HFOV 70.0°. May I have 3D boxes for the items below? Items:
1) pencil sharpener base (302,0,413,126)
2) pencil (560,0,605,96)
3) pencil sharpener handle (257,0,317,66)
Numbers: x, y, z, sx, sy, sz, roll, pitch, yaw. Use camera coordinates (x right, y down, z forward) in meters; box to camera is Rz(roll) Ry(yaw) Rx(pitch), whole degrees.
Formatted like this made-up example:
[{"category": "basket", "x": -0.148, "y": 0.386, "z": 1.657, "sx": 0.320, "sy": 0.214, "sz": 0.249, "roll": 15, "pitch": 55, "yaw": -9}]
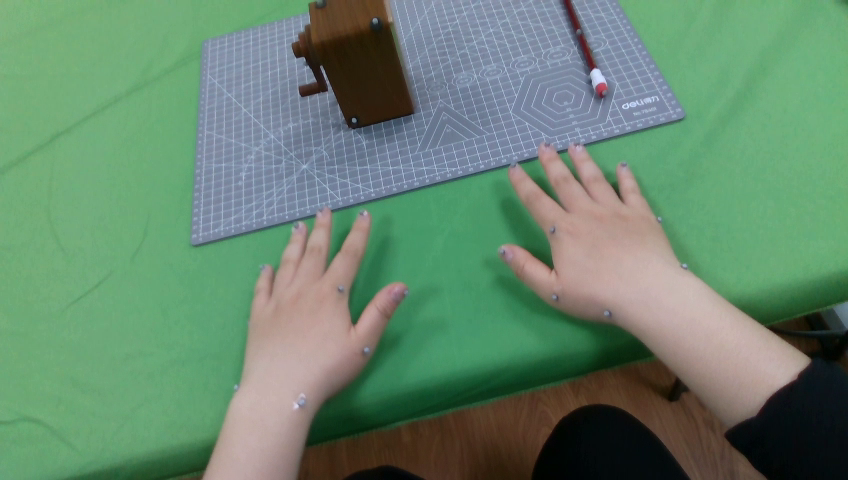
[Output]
[{"category": "pencil sharpener base", "x": -0.059, "y": -0.166, "z": 0.558, "sx": 0.076, "sy": 0.108, "sz": 0.060, "roll": -15, "pitch": 55, "yaw": 3}, {"category": "pencil", "x": 0.150, "y": -0.209, "z": 0.600, "sx": 0.012, "sy": 0.012, "sz": 0.192, "roll": -10, "pitch": 54, "yaw": 6}, {"category": "pencil sharpener handle", "x": -0.117, "y": -0.177, "z": 0.524, "sx": 0.030, "sy": 0.068, "sz": 0.035, "roll": -15, "pitch": 55, "yaw": 3}]
